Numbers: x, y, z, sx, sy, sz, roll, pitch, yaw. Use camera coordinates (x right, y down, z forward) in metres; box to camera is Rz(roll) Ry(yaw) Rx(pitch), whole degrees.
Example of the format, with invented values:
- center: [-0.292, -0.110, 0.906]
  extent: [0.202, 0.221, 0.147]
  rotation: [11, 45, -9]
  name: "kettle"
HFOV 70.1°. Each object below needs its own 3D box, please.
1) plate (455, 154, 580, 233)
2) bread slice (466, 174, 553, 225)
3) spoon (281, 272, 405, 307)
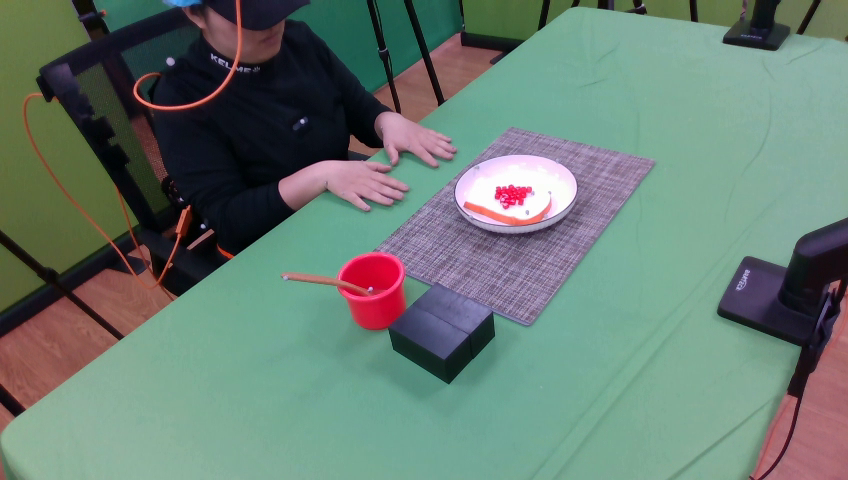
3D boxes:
- center: [0.158, -0.076, 1.028]
  extent: [0.209, 0.038, 0.208]
  rotation: [-5, 40, 5]
  name: "plate"
- center: [0.152, -0.067, 1.022]
  extent: [0.130, 0.019, 0.105]
  rotation: [23, 50, 33]
  name: "bread slice"
- center: [-0.108, 0.065, 0.836]
  extent: [0.195, 0.021, 0.041]
  rotation: [20, 23, -37]
  name: "spoon"
